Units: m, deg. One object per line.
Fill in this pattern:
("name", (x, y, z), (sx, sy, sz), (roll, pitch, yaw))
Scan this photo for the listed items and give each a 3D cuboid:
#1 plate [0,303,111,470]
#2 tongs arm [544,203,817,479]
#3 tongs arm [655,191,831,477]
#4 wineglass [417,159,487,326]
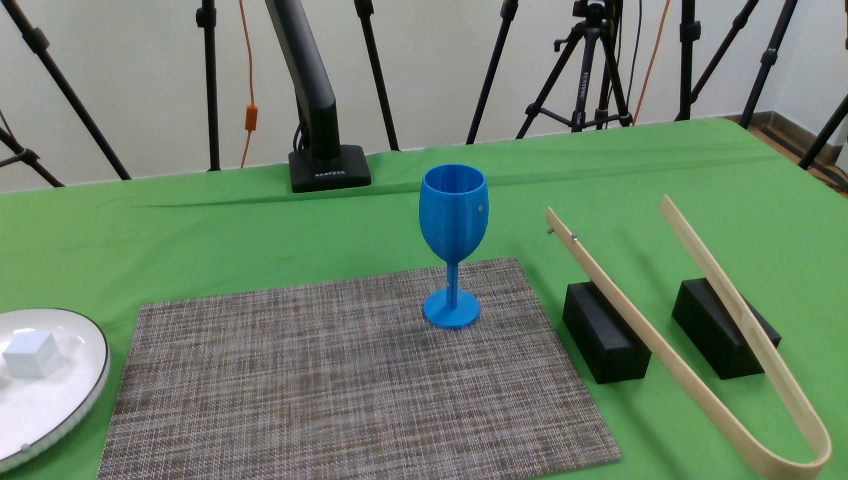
("plate", (-0.406, 0.141, 0.574), (0.209, 0.038, 0.207), (0, 36, 0))
("tongs arm", (0.222, 0.069, 0.601), (0.051, 0.027, 0.380), (-8, 37, -13))
("tongs arm", (0.302, 0.060, 0.613), (0.028, 0.028, 0.383), (3, 36, -5))
("wineglass", (0.029, 0.006, 0.638), (0.074, 0.174, 0.073), (0, 37, 1))
